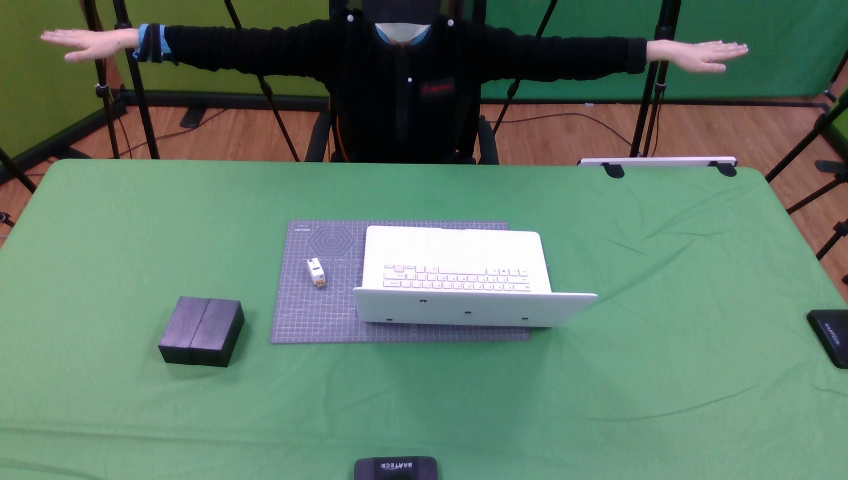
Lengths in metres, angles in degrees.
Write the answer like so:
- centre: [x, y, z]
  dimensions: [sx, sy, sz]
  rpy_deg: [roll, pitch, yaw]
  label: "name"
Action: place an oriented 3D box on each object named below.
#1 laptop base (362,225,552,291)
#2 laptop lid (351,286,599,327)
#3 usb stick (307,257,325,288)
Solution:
- centre: [0.061, 0.063, 1.145]
  dimensions: [0.354, 0.023, 0.234]
  rpy_deg: [2, 43, -3]
  label: "laptop base"
- centre: [0.068, 0.109, 0.952]
  dimensions: [0.357, 0.242, 0.013]
  rpy_deg: [2, 71, -4]
  label: "laptop lid"
- centre: [-0.198, 0.062, 1.116]
  dimensions: [0.021, 0.027, 0.059]
  rpy_deg: [-15, 52, -19]
  label: "usb stick"
